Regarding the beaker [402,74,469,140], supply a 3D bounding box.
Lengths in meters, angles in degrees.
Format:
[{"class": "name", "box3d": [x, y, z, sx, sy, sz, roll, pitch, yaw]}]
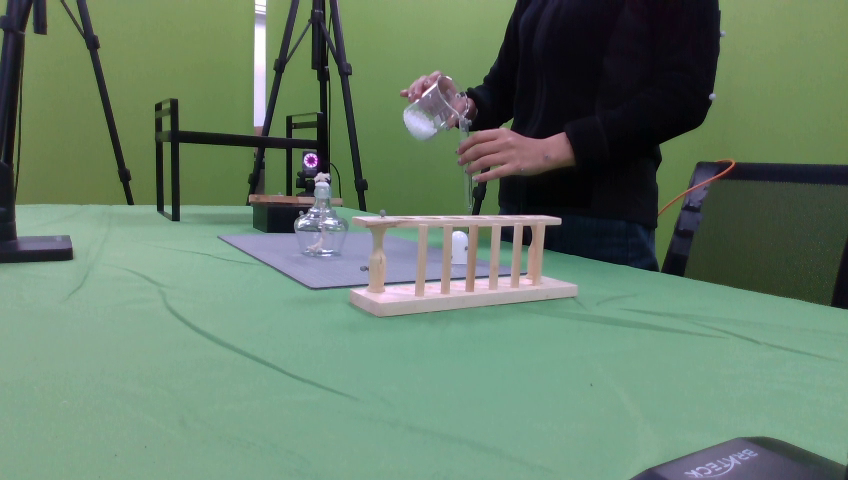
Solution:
[{"class": "beaker", "box3d": [0.017, -0.221, 1.034, 0.100, 0.084, 0.074, -32, -9, 39]}]

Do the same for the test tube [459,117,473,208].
[{"class": "test tube", "box3d": [0.070, -0.128, 1.001, 0.017, 0.150, 0.017, -3, 0, 0]}]

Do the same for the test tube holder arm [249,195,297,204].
[{"class": "test tube holder arm", "box3d": [-0.284, -0.076, 1.141, 0.088, 0.015, 0.010, 0, 9, -29]}]

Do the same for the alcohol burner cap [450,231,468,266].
[{"class": "alcohol burner cap", "box3d": [0.046, 0.011, 0.838, 0.034, 0.048, 0.034, 3, 6, 0]}]

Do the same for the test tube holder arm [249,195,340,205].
[{"class": "test tube holder arm", "box3d": [-0.247, -0.077, 1.168, 0.179, 0.015, 0.013, 0, 9, -31]}]

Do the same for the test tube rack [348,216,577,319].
[{"class": "test tube rack", "box3d": [0.048, 0.021, 0.619, 0.244, 0.085, 0.066, -2, 9, -31]}]

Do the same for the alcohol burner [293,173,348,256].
[{"class": "alcohol burner", "box3d": [-0.147, -0.036, 0.859, 0.078, 0.119, 0.078, 4, 8, 0]}]
